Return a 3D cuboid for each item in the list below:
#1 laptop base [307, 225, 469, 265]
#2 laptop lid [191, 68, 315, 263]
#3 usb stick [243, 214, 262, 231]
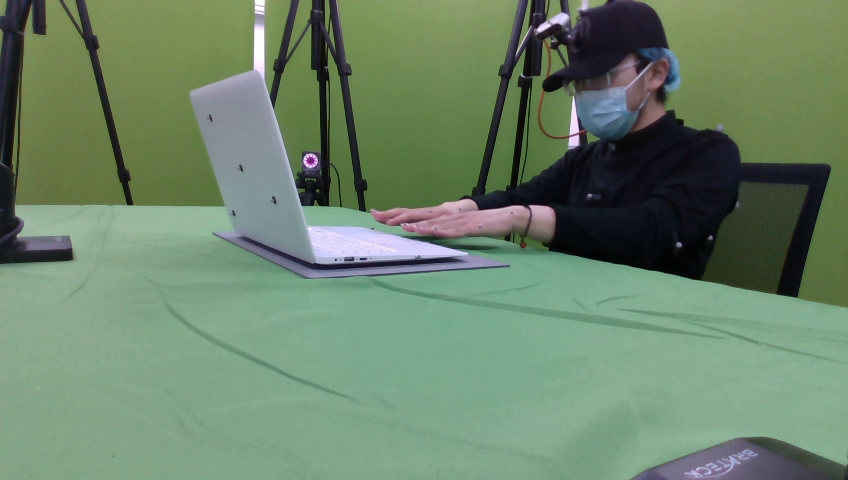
[{"bbox_3d":[-0.125,0.005,0.936,0.237,0.023,0.352,1,7,-33],"label":"laptop base"},{"bbox_3d":[-0.250,-0.102,0.838,0.013,0.242,0.355,-22,20,-29],"label":"laptop lid"},{"bbox_3d":[-0.297,-0.030,1.053,0.021,0.027,0.059,-1,10,-31],"label":"usb stick"}]
